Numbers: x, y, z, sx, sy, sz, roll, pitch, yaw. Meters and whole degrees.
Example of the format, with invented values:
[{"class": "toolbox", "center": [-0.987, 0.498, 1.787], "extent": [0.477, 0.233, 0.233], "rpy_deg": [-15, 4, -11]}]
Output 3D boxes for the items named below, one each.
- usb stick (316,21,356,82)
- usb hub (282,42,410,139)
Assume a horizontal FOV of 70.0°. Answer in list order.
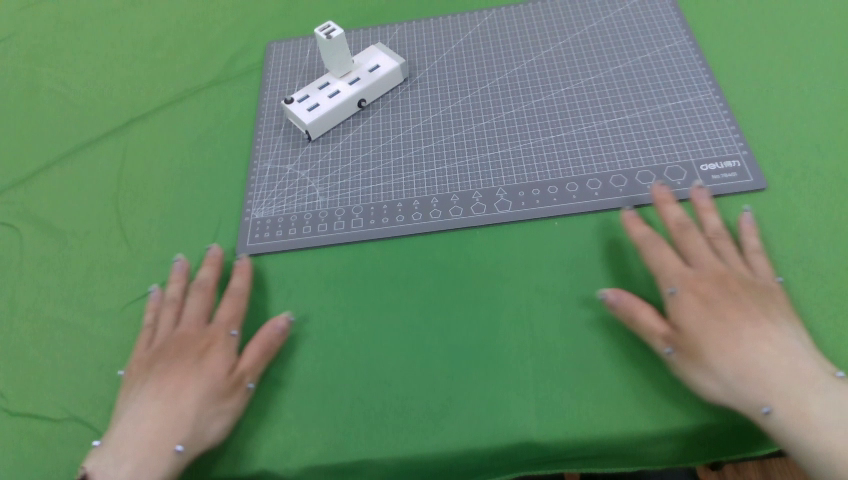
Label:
[{"class": "usb stick", "center": [-0.085, -0.183, 0.599], "extent": [0.021, 0.060, 0.027], "rpy_deg": [-39, 56, -17]}, {"class": "usb hub", "center": [-0.078, -0.153, 0.614], "extent": [0.125, 0.025, 0.049], "rpy_deg": [-37, 57, -16]}]
